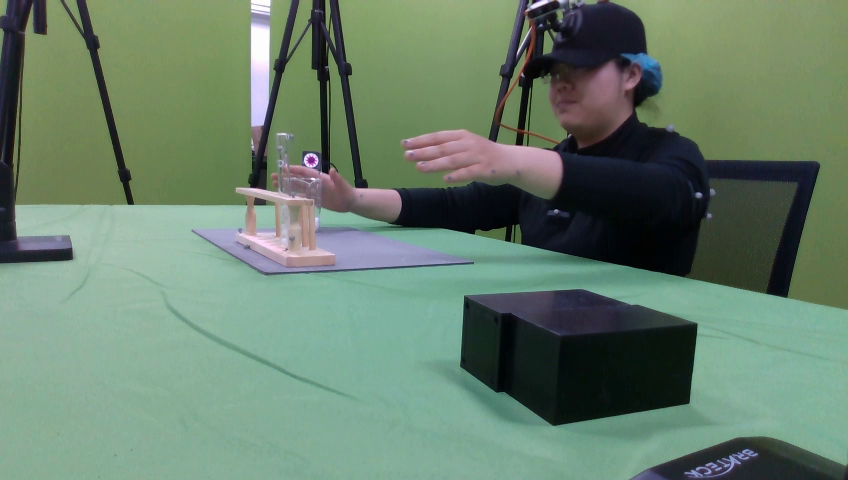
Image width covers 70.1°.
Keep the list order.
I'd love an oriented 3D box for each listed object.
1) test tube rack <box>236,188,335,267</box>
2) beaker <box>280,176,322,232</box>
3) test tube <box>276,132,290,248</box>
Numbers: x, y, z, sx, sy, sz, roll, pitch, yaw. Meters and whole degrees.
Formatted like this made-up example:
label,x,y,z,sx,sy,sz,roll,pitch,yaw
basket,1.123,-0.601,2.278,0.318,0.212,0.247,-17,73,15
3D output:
label,x,y,z,sx,sy,sz,roll,pitch,yaw
test tube rack,-0.202,-0.025,0.855,0.067,0.085,0.241,-2,9,-31
beaker,-0.224,-0.065,1.111,0.074,0.100,0.083,-2,10,-30
test tube,-0.180,-0.063,0.778,0.017,0.150,0.017,0,9,0
